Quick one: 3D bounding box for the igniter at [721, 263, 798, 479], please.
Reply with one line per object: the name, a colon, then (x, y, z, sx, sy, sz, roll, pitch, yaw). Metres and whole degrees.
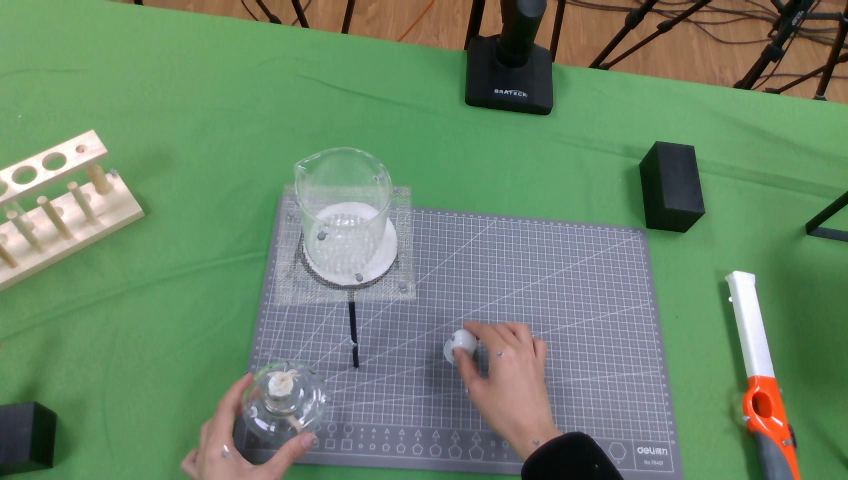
igniter: (0.367, 0.153, 0.666, 0.057, 0.025, 0.274, 11, 62, -14)

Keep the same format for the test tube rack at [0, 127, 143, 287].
test tube rack: (-0.425, -0.013, 0.612, 0.242, 0.086, 0.066, -33, 71, -22)

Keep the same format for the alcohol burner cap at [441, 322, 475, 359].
alcohol burner cap: (0.037, 0.104, 0.636, 0.034, 0.048, 0.033, 3, 66, -7)

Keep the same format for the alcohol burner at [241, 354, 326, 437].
alcohol burner: (-0.129, 0.137, 0.555, 0.078, 0.120, 0.077, 4, 61, -7)

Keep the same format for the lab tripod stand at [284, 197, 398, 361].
lab tripod stand: (-0.077, 0.032, 0.605, 0.149, 0.132, 0.147, 4, 63, -7)

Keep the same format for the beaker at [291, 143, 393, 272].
beaker: (-0.071, -0.023, 0.505, 0.084, 0.101, 0.073, 28, 63, 7)

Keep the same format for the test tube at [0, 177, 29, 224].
test tube: (-0.416, -0.059, 0.581, 0.017, 0.151, 0.017, 4, 57, -6)

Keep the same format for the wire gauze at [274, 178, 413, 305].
wire gauze: (-0.072, -0.002, 0.550, 0.122, 0.011, 0.124, 0, 66, -6)
